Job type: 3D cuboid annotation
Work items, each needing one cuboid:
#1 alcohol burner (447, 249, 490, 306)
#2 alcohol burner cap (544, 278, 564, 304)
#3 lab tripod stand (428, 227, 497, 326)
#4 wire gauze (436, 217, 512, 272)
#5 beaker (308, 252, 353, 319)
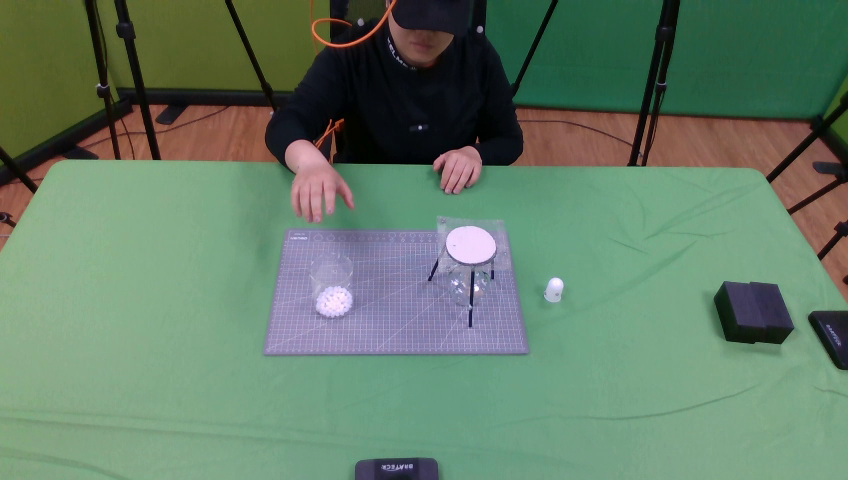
[{"bbox_3d":[0.079,0.062,1.078,0.078,0.120,0.077,1,45,-1],"label":"alcohol burner"},{"bbox_3d":[0.241,0.091,1.117,0.034,0.048,0.033,2,45,-2],"label":"alcohol burner cap"},{"bbox_3d":[0.078,0.056,1.070,0.148,0.132,0.147,3,47,-3],"label":"lab tripod stand"},{"bbox_3d":[0.083,0.006,1.025,0.121,0.011,0.124,2,47,-4],"label":"wire gauze"},{"bbox_3d":[-0.159,0.080,1.052,0.074,0.101,0.083,11,45,6],"label":"beaker"}]
